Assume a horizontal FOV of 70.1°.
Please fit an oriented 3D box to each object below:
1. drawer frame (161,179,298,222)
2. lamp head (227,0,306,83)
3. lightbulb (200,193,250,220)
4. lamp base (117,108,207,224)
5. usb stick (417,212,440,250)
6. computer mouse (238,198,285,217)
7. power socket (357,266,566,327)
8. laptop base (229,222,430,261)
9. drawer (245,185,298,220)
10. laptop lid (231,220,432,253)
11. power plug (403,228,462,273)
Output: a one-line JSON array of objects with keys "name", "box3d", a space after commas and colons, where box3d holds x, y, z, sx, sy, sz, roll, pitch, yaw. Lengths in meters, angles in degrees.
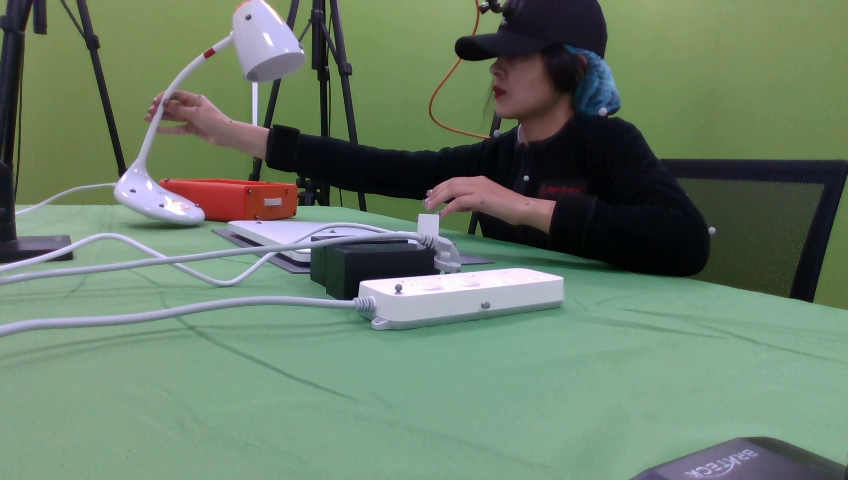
[{"name": "drawer frame", "box3d": [-0.420, -0.089, 1.328, 0.213, 0.082, 0.202, 4, 8, 18]}, {"name": "lamp head", "box3d": [-0.282, -0.347, 1.049, 0.112, 0.123, 0.112, -30, 0, 0]}, {"name": "lightbulb", "box3d": [-0.433, -0.079, 1.319, 0.108, 0.059, 0.059, -17, 13, -16]}, {"name": "lamp base", "box3d": [-0.469, -0.140, 1.114, 0.179, 0.180, 0.160, 20, 9, 1]}, {"name": "usb stick", "box3d": [0.005, -0.003, 0.721, 0.027, 0.059, 0.021, -1, -4, -2]}, {"name": "computer mouse", "box3d": [-0.354, -0.072, 1.326, 0.063, 0.041, 0.117, 3, 2, 12]}, {"name": "power socket", "box3d": [0.041, 0.049, 0.573, 0.228, 0.032, 0.072, -3, 8, -34]}, {"name": "laptop base", "box3d": [-0.145, 0.001, 0.943, 0.237, 0.023, 0.352, 2, 6, -32]}, {"name": "drawer", "box3d": [-0.417, -0.087, 1.329, 0.211, 0.073, 0.195, 4, 8, 18]}, {"name": "laptop lid", "box3d": [-0.143, -0.009, 0.942, 0.243, 0.013, 0.355, 1, 7, -31]}, {"name": "power plug", "box3d": [0.006, 0.016, 0.647, 0.073, 0.052, 0.035, 17, 12, -5]}]
